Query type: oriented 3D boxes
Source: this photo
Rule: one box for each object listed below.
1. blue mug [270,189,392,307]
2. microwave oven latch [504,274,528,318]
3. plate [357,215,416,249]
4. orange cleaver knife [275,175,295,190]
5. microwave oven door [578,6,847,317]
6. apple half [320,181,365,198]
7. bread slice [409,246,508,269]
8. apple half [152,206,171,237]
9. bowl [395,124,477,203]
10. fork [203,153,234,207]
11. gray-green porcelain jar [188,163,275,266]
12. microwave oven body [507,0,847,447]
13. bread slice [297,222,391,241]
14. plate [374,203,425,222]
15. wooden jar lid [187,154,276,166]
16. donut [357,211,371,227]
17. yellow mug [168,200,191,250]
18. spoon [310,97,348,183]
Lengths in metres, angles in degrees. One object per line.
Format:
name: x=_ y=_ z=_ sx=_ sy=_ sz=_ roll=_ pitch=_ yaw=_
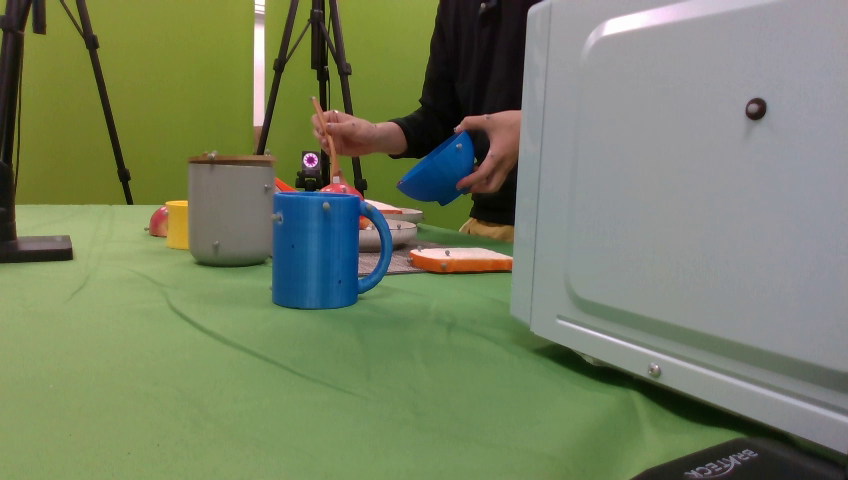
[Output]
blue mug: x=-0.090 y=0.005 z=0.588 sx=0.117 sy=0.106 sz=0.082 roll=1 pitch=7 yaw=-11
microwave oven latch: x=0.100 y=0.041 z=0.470 sx=0.079 sy=0.029 sz=0.030 roll=-1 pitch=7 yaw=-27
plate: x=-0.116 y=-0.014 z=0.967 sx=0.208 sy=0.039 sz=0.207 roll=2 pitch=7 yaw=0
orange cleaver knife: x=-0.283 y=-0.087 z=1.343 sx=0.212 sy=0.077 sz=0.012 roll=24 pitch=-16 yaw=-41
microwave oven door: x=0.294 y=-0.067 z=0.570 sx=0.358 sy=0.243 sz=0.039 roll=-3 pitch=9 yaw=-31
apple half: x=-0.130 y=-0.077 z=0.952 sx=0.081 sy=0.033 sz=0.081 roll=4 pitch=14 yaw=-1
bread slice: x=0.048 y=0.022 z=0.816 sx=0.132 sy=0.019 sz=0.104 roll=0 pitch=7 yaw=-24
apple half: x=-0.415 y=-0.034 z=1.017 sx=0.081 sy=0.053 sz=0.074 roll=1 pitch=10 yaw=-9
bowl: x=0.034 y=-0.114 z=1.000 sx=0.151 sy=0.077 sz=0.151 roll=-39 pitch=10 yaw=9
fork: x=-0.480 y=-0.135 z=1.411 sx=0.028 sy=0.018 sz=0.207 roll=1 pitch=-34 yaw=0
gray-green porcelain jar: x=-0.246 y=-0.034 z=0.779 sx=0.106 sy=0.126 sz=0.106 roll=2 pitch=7 yaw=0
microwave oven body: x=0.331 y=-0.042 z=0.425 sx=0.444 sy=0.260 sz=0.324 roll=-2 pitch=8 yaw=-31
bread slice: x=-0.121 y=-0.015 z=0.970 sx=0.106 sy=0.018 sz=0.135 roll=9 pitch=9 yaw=41
plate: x=-0.102 y=-0.053 z=1.299 sx=0.209 sy=0.038 sz=0.209 roll=2 pitch=8 yaw=0
wooden jar lid: x=-0.244 y=-0.097 z=0.771 sx=0.108 sy=0.020 sz=0.108 roll=-1 pitch=7 yaw=0
donut: x=-0.132 y=-0.042 z=0.959 sx=0.099 sy=0.048 sz=0.099 roll=4 pitch=8 yaw=0
yellow mug: x=-0.319 y=-0.023 z=0.904 sx=0.130 sy=0.064 sz=0.100 roll=8 pitch=10 yaw=36
spoon: x=-0.160 y=-0.158 z=1.032 sx=0.021 sy=0.193 sz=0.042 roll=-21 pitch=-8 yaw=37
